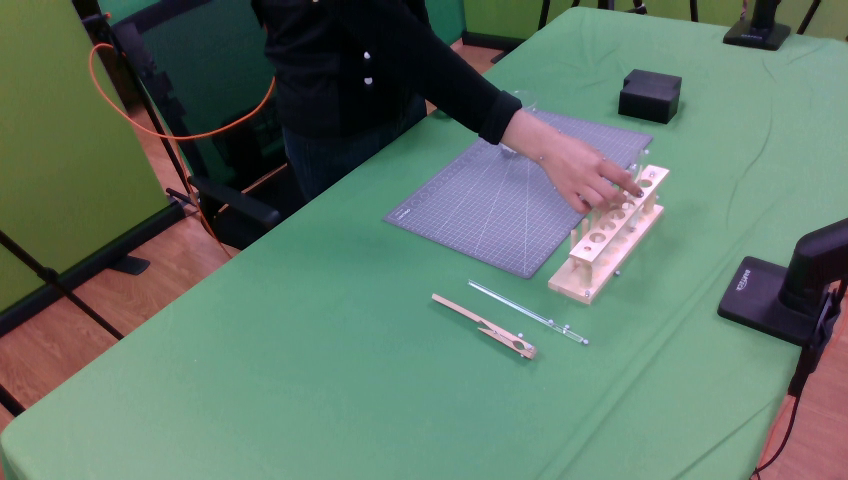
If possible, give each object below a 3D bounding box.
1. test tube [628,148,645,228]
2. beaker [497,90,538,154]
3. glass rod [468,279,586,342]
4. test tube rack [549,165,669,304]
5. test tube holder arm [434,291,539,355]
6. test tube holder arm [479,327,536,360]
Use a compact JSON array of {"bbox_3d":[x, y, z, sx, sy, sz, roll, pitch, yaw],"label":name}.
[{"bbox_3d":[0.308,-0.071,0.882,0.017,0.151,0.017,-7,46,8],"label":"test tube"},{"bbox_3d":[0.176,-0.220,1.143,0.073,0.101,0.084,27,52,35],"label":"beaker"},{"bbox_3d":[0.140,0.096,0.853,0.198,0.008,0.008,27,52,35],"label":"glass rod"},{"bbox_3d":[0.279,-0.018,0.902,0.066,0.085,0.243,24,50,33],"label":"test tube rack"},{"bbox_3d":[0.081,0.112,0.832,0.177,0.015,0.013,29,83,36],"label":"test tube holder arm"},{"bbox_3d":[0.110,0.134,0.805,0.087,0.015,0.010,29,83,36],"label":"test tube holder arm"}]
